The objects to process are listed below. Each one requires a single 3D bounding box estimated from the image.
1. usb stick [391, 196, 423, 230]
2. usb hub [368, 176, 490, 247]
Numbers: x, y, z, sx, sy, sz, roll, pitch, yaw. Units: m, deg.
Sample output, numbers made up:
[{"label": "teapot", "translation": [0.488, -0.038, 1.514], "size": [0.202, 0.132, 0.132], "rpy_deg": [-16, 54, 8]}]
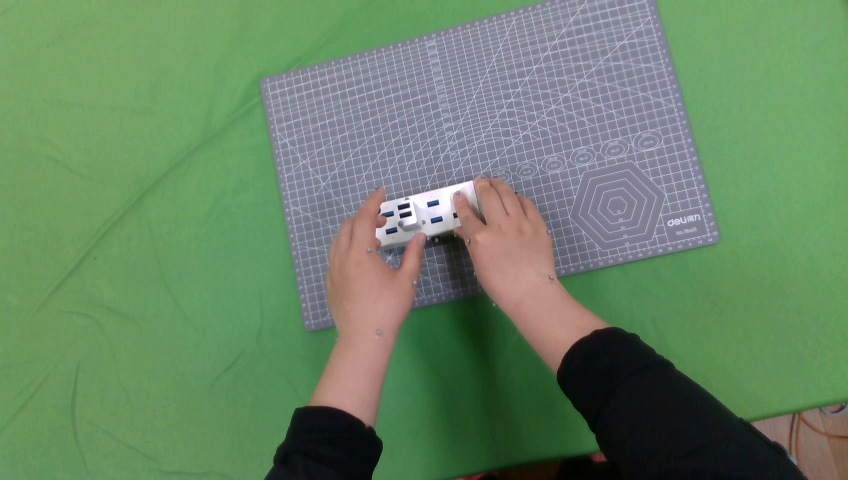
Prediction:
[{"label": "usb stick", "translation": [-0.016, -0.027, 0.627], "size": [0.021, 0.059, 0.027], "rpy_deg": [-18, 79, 6]}, {"label": "usb hub", "translation": [0.005, -0.031, 0.653], "size": [0.125, 0.025, 0.049], "rpy_deg": [-14, 82, 7]}]
